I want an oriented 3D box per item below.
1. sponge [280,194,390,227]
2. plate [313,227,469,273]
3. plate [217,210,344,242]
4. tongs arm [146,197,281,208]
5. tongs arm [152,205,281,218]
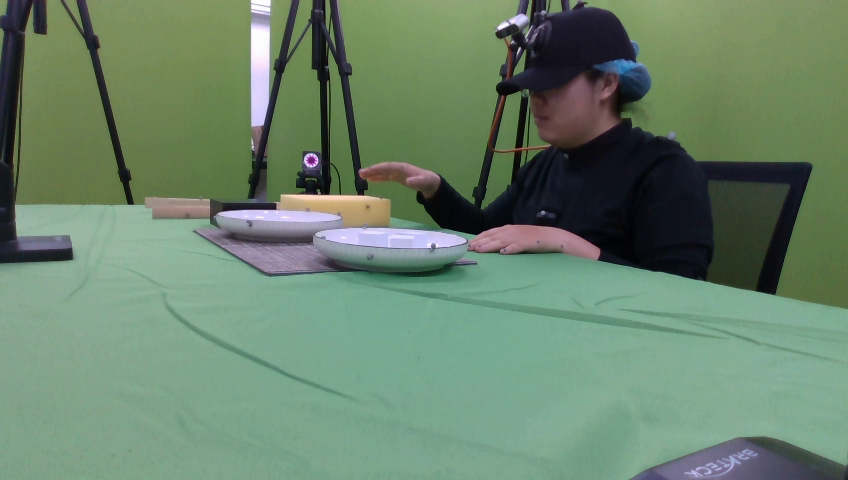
[{"bbox_3d":[-0.188,-0.063,1.291,0.208,0.061,0.117,-2,9,-35],"label":"sponge"},{"bbox_3d":[-0.044,0.012,0.807,0.209,0.038,0.209,2,7,0],"label":"plate"},{"bbox_3d":[-0.241,-0.024,1.026,0.208,0.039,0.207,3,7,0],"label":"plate"},{"bbox_3d":[-0.437,-0.079,1.415,0.387,0.026,0.050,1,8,-25],"label":"tongs arm"},{"bbox_3d":[-0.397,-0.064,1.345,0.390,0.028,0.028,-3,6,-38],"label":"tongs arm"}]
